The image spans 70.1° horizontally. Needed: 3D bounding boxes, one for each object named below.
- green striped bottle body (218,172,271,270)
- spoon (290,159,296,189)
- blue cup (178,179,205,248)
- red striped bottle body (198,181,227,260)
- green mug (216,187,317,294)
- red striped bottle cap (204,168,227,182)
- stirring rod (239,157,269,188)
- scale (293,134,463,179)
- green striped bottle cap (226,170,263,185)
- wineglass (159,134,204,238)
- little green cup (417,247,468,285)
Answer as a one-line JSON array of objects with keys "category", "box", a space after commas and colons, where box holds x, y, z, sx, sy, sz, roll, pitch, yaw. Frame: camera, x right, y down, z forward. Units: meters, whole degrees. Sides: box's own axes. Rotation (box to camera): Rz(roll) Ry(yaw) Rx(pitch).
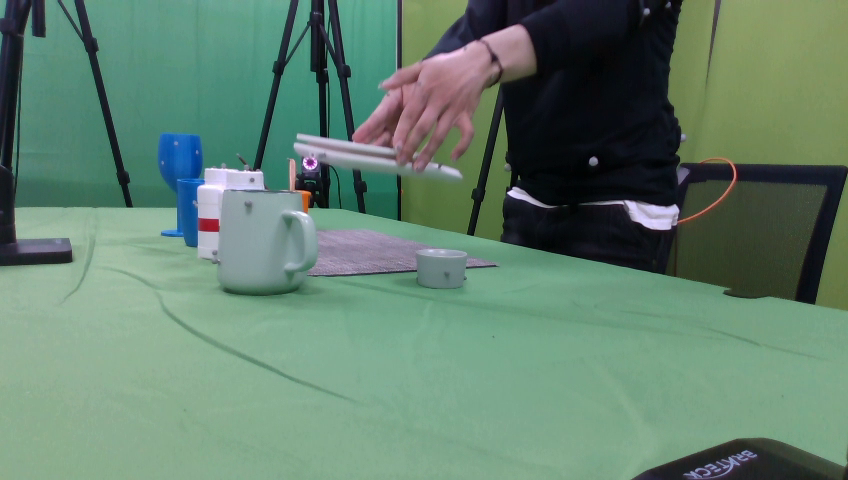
[{"category": "green striped bottle body", "box": [-0.223, -0.025, 0.756, 0.063, 0.119, 0.063, 2, 7, 0]}, {"category": "spoon", "box": [-0.273, -0.102, 1.252, 0.042, 0.193, 0.021, 7, -38, -17]}, {"category": "blue cup", "box": [-0.335, -0.041, 0.936, 0.093, 0.100, 0.092, 3, 9, 0]}, {"category": "red striped bottle body", "box": [-0.275, -0.035, 0.827, 0.063, 0.119, 0.063, 1, 7, 0]}, {"category": "green mug", "box": [-0.157, 0.000, 0.629, 0.124, 0.105, 0.093, 7, 9, 37]}, {"category": "red striped bottle cap", "box": [-0.275, -0.087, 0.821, 0.044, 0.017, 0.044, 4, 7, 0]}, {"category": "stirring rod", "box": [-0.309, -0.098, 1.209, 0.006, 0.177, 0.014, -39, 29, -4]}, {"category": "scale", "box": [-0.060, -0.112, 0.814, 0.202, 0.031, 0.148, 2, 11, -37]}, {"category": "green striped bottle cap", "box": [-0.222, -0.077, 0.748, 0.044, 0.020, 0.044, 1, 7, 0]}, {"category": "wineglass", "box": [-0.415, -0.093, 1.039, 0.074, 0.172, 0.073, 2, 8, 0]}, {"category": "little green cup", "box": [0.021, 0.030, 0.700, 0.061, 0.038, 0.061, 2, 4, 0]}]
